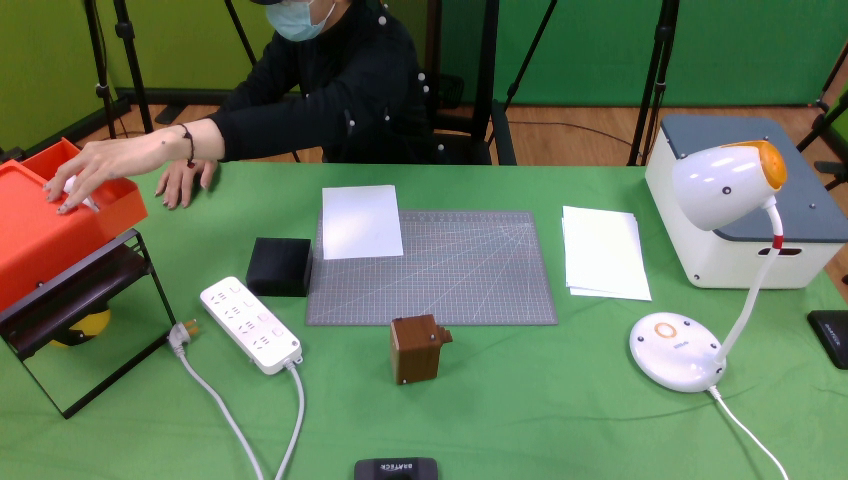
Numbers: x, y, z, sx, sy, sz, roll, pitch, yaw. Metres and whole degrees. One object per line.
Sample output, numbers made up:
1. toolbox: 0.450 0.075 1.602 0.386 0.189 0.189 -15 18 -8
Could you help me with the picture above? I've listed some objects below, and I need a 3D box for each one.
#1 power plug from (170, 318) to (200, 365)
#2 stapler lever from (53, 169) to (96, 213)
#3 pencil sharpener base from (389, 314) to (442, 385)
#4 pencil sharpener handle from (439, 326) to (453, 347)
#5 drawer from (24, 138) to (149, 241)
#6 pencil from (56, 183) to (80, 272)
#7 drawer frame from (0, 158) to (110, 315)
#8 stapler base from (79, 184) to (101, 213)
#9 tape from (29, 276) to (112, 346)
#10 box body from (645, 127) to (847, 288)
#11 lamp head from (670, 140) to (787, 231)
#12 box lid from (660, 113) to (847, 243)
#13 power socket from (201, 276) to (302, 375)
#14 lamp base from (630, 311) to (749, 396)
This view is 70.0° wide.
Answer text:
1. power plug: -0.393 0.167 1.014 0.052 0.035 0.072 -30 91 -24
2. stapler lever: -0.533 -0.066 0.928 0.027 0.040 0.117 -34 58 -22
3. pencil sharpener base: -0.013 0.175 0.971 0.077 0.107 0.061 -8 47 -12
4. pencil sharpener handle: 0.036 0.155 0.976 0.031 0.068 0.036 -8 70 -11
5. drawer: -0.567 -0.043 0.911 0.194 0.073 0.211 29 52 21
6. pencil: -0.548 -0.031 0.927 0.012 0.012 0.193 -18 61 -20
7. drawer frame: -0.610 -0.001 0.864 0.201 0.083 0.213 27 51 20
8. stapler base: -0.534 -0.051 0.948 0.041 0.024 0.130 -34 59 -23
9. tape: -0.595 0.118 1.021 0.117 0.053 0.116 3 44 -2
10. box body: 0.625 -0.080 1.222 0.254 0.161 0.361 0 46 -3
11. lamp head: 0.415 -0.078 0.811 0.113 0.123 0.112 12 70 -37
12. box lid: 0.628 -0.132 1.170 0.263 0.015 0.369 1 46 -3
13. power socket: -0.298 0.142 1.034 0.072 0.033 0.225 -34 58 -30
14. lamp base: 0.447 0.143 0.983 0.161 0.181 0.178 -24 55 -24
